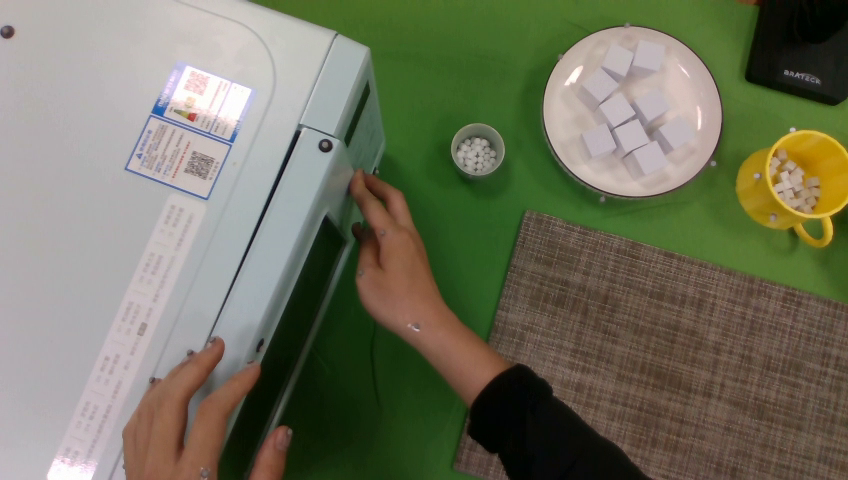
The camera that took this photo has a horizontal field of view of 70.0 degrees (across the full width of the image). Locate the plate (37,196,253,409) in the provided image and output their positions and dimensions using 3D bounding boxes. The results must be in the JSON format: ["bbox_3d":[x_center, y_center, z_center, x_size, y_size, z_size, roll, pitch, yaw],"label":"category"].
[{"bbox_3d":[-0.273,0.062,0.608,0.209,0.038,0.208,0,83,-1],"label":"plate"}]

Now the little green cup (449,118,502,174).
[{"bbox_3d":[0.058,-0.105,0.696,0.061,0.039,0.061,0,84,0],"label":"little green cup"}]

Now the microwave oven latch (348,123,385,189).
[{"bbox_3d":[-0.069,-0.096,0.675,0.030,0.029,0.079,24,83,2],"label":"microwave oven latch"}]

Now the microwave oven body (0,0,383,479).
[{"bbox_3d":[-0.268,0.006,0.561,0.326,0.260,0.440,20,83,1],"label":"microwave oven body"}]

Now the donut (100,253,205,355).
[{"bbox_3d":[-0.263,0.062,0.593,0.099,0.048,0.099,0,86,-4],"label":"donut"}]

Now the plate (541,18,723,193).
[{"bbox_3d":[0.238,-0.153,0.707,0.208,0.039,0.207,0,82,-1],"label":"plate"}]

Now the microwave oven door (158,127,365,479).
[{"bbox_3d":[-0.143,0.095,0.546,0.039,0.244,0.355,21,82,2],"label":"microwave oven door"}]

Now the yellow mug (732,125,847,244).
[{"bbox_3d":[0.420,-0.058,0.684,0.100,0.064,0.130,-20,84,-4],"label":"yellow mug"}]
